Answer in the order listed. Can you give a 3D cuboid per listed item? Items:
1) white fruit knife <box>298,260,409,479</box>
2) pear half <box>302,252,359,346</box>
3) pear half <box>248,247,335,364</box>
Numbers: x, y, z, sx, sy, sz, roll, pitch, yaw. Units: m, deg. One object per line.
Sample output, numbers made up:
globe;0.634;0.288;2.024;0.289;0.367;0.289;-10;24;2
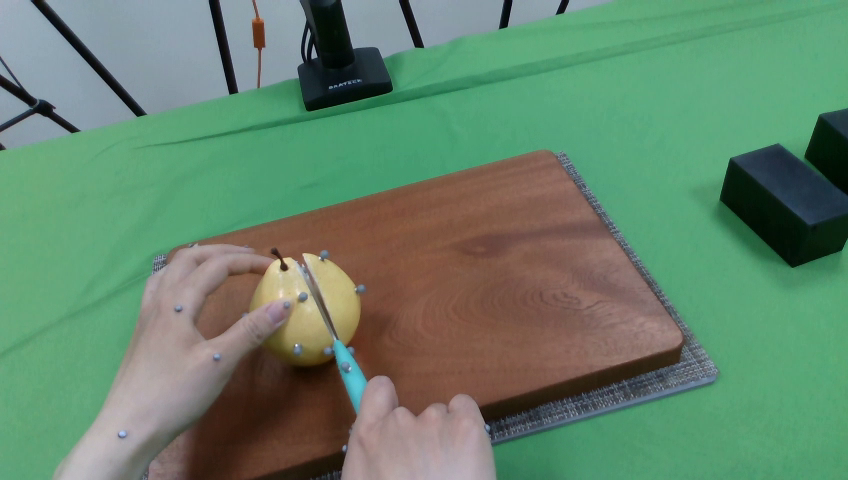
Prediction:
white fruit knife;-0.060;0.084;0.443;0.016;0.028;0.205;-27;50;-10
pear half;-0.068;0.041;0.466;0.031;0.089;0.069;-23;41;-20
pear half;-0.106;0.048;0.449;0.056;0.111;0.075;-28;43;-15
